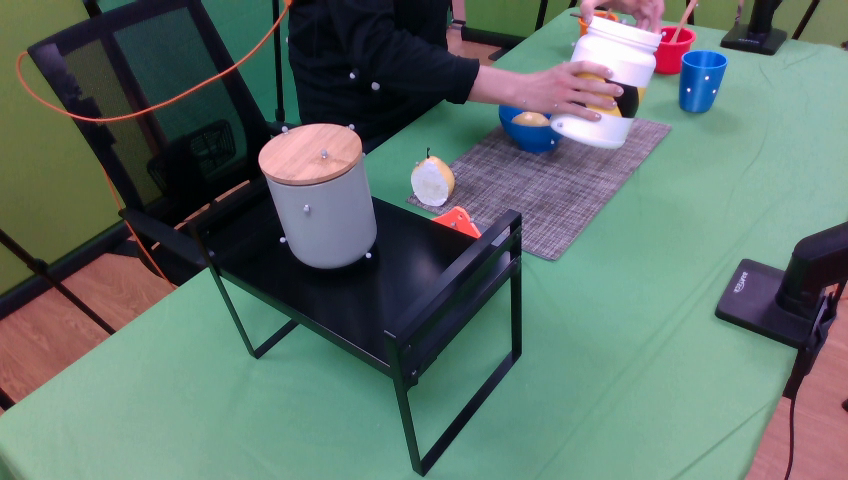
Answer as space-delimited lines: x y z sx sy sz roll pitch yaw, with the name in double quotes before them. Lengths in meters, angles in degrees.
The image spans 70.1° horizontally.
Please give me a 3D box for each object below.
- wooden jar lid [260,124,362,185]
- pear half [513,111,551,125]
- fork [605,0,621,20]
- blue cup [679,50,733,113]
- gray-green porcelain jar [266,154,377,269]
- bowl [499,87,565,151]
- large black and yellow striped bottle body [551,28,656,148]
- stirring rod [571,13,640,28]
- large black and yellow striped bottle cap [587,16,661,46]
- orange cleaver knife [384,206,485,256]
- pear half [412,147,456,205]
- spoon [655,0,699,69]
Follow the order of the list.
"wooden jar lid" -0.119 -0.088 0.645 0.108 0.021 0.108 -4 40 4
"pear half" 0.212 -0.227 1.153 0.088 0.031 0.070 7 45 10
"fork" 0.446 -0.538 1.438 0.207 0.019 0.028 -57 35 12
"blue cup" 0.546 -0.309 1.193 0.092 0.100 0.092 -4 39 4
"gray-green porcelain jar" -0.112 -0.039 0.685 0.106 0.127 0.105 -4 40 4
"bowl" 0.220 -0.223 1.155 0.151 0.077 0.150 -4 40 4
"large black and yellow striped bottle body" 0.297 -0.258 0.993 0.131 0.184 0.130 13 25 -5
"stirring rod" 0.418 -0.509 1.403 0.174 0.006 0.014 28 53 35
"large black and yellow striped bottle cap" 0.317 -0.332 0.958 0.115 0.019 0.114 13 24 -6
"orange cleaver knife" 0.012 -0.010 0.942 0.012 0.077 0.210 -37 19 -35
"pear half" 0.019 -0.120 1.042 0.076 0.110 0.056 11 44 16
"spoon" 0.567 -0.463 1.337 0.041 0.022 0.193 29 96 37
